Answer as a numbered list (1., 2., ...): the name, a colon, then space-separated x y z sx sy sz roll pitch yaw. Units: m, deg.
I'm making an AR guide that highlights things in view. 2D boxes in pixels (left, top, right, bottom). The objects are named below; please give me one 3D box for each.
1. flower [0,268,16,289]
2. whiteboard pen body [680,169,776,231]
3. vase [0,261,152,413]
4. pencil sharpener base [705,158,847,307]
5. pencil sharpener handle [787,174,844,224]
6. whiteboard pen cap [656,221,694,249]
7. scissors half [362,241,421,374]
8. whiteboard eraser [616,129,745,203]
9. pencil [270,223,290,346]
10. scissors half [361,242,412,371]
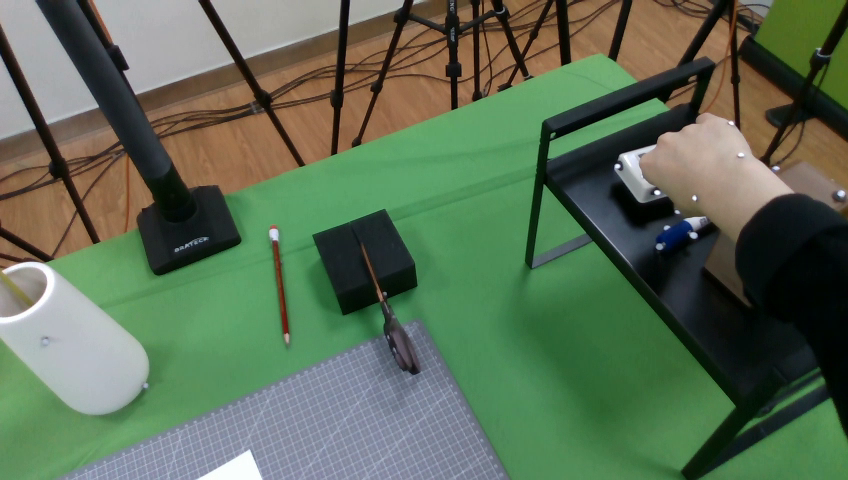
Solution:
1. flower: -0.387 0.049 0.578 0.044 0.365 0.038 -29 39 -13
2. whiteboard pen body: 0.288 -0.033 0.587 0.141 0.017 0.017 -28 56 -12
3. vase: -0.371 0.106 0.638 0.098 0.202 0.097 -2 52 4
4. pencil sharpener base: 0.301 -0.005 0.515 0.077 0.108 0.060 -27 55 -17
5. pencil sharpener handle: 0.342 -0.038 0.522 0.030 0.068 0.035 -27 68 -17
6. whiteboard pen cap: 0.239 -0.005 0.574 0.033 0.018 0.018 -28 56 -13
7. scissors half: -0.041 0.077 0.717 0.013 0.040 0.174 -28 74 11
8. whiteboard eraser: 0.256 -0.072 0.609 0.113 0.042 0.055 -15 55 -9
9. pencil: -0.187 0.053 0.786 0.012 0.012 0.192 -13 55 -6
10. scissors half: -0.048 0.071 0.698 0.013 0.040 0.173 -26 56 6
